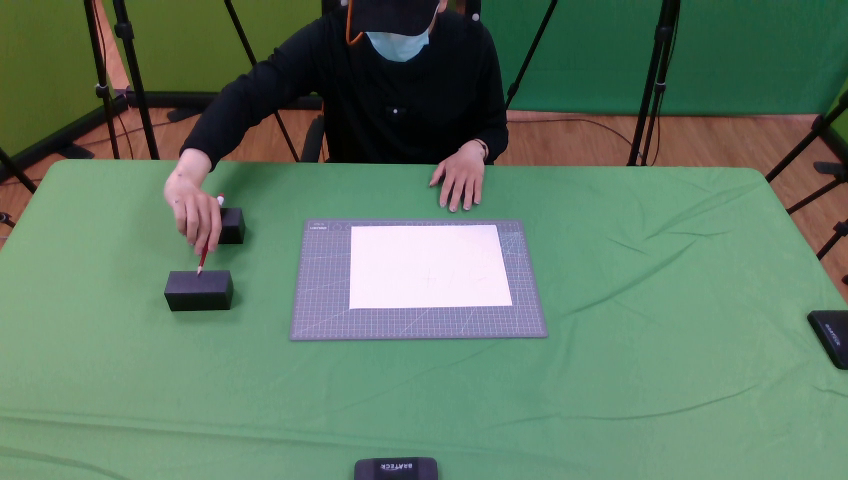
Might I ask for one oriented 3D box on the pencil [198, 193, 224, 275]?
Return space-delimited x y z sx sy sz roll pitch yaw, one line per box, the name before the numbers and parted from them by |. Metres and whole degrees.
pencil | -0.390 -0.014 1.112 0.012 0.012 0.193 2 51 -2
